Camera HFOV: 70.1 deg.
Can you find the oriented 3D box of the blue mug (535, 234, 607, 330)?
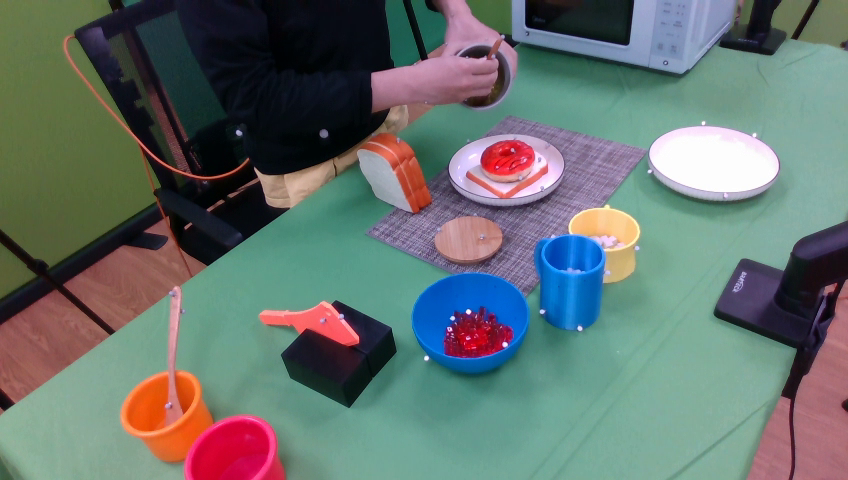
[{"bbox_3d":[0.191,0.048,0.824,0.082,0.106,0.115,-26,44,-20],"label":"blue mug"}]

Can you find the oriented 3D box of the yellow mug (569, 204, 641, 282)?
[{"bbox_3d":[0.268,-0.005,0.904,0.099,0.064,0.130,7,41,16],"label":"yellow mug"}]

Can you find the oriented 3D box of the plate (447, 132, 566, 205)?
[{"bbox_3d":[0.146,-0.124,1.076,0.209,0.038,0.208,-3,41,3],"label":"plate"}]

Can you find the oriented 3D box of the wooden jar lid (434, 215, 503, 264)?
[{"bbox_3d":[0.070,0.001,0.956,0.108,0.021,0.108,-4,40,4],"label":"wooden jar lid"}]

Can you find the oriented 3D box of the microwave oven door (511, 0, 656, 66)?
[{"bbox_3d":[0.351,-0.539,1.348,0.353,0.245,0.039,24,50,31],"label":"microwave oven door"}]

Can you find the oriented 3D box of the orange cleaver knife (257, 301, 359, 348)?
[{"bbox_3d":[-0.160,0.115,0.813,0.210,0.077,0.012,-9,29,48],"label":"orange cleaver knife"}]

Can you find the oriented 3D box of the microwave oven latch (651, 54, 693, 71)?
[{"bbox_3d":[0.531,-0.386,1.301,0.078,0.029,0.030,26,51,33],"label":"microwave oven latch"}]

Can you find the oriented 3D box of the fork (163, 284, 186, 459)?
[{"bbox_3d":[-0.302,0.157,0.733,0.028,0.019,0.207,-3,84,14],"label":"fork"}]

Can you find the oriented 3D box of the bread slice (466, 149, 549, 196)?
[{"bbox_3d":[0.156,-0.129,1.085,0.132,0.019,0.104,-33,48,-23],"label":"bread slice"}]

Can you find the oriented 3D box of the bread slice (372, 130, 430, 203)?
[{"bbox_3d":[-0.042,-0.127,1.039,0.106,0.135,0.018,30,62,33],"label":"bread slice"}]

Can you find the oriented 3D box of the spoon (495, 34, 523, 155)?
[{"bbox_3d":[0.129,-0.223,0.950,0.022,0.194,0.041,-28,29,-35],"label":"spoon"}]

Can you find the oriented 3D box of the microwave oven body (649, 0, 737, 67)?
[{"bbox_3d":[0.475,-0.602,1.411,0.438,0.261,0.327,23,50,32],"label":"microwave oven body"}]

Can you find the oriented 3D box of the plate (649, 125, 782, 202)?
[{"bbox_3d":[0.493,-0.127,1.036,0.207,0.039,0.206,-4,41,4],"label":"plate"}]

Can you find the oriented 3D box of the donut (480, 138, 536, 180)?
[{"bbox_3d":[0.145,-0.144,1.056,0.099,0.048,0.098,-6,42,6],"label":"donut"}]

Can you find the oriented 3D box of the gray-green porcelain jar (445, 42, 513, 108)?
[{"bbox_3d":[0.090,-0.280,1.037,0.106,0.106,0.126,-8,14,0],"label":"gray-green porcelain jar"}]

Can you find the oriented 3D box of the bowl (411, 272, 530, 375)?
[{"bbox_3d":[0.062,0.120,0.780,0.151,0.077,0.150,-4,40,4],"label":"bowl"}]
